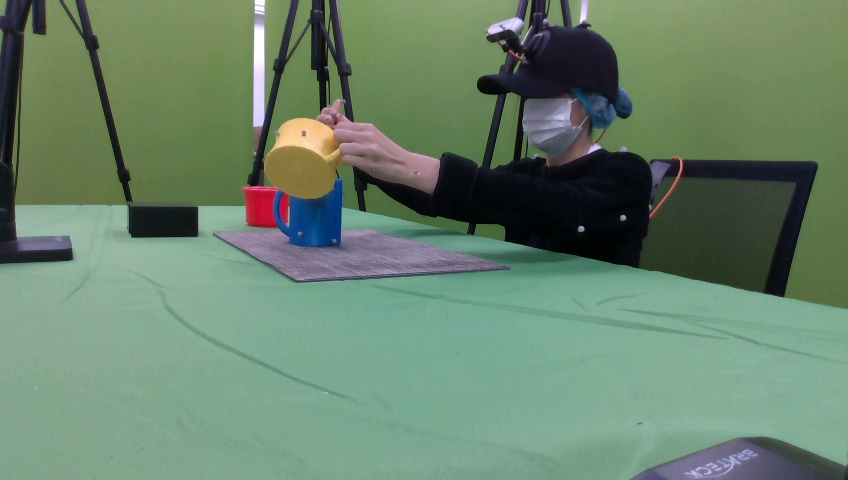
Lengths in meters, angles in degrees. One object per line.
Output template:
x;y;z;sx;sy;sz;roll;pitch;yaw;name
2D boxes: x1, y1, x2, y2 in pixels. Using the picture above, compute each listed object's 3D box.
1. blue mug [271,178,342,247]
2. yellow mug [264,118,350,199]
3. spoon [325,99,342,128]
-0.190;-0.047;0.963;0.116;0.106;0.082;4;7;13;blue mug
-0.159;-0.121;0.867;0.130;0.100;0.064;-16;43;26;yellow mug
-0.156;-0.170;0.941;0.041;0.022;0.193;-6;36;14;spoon
